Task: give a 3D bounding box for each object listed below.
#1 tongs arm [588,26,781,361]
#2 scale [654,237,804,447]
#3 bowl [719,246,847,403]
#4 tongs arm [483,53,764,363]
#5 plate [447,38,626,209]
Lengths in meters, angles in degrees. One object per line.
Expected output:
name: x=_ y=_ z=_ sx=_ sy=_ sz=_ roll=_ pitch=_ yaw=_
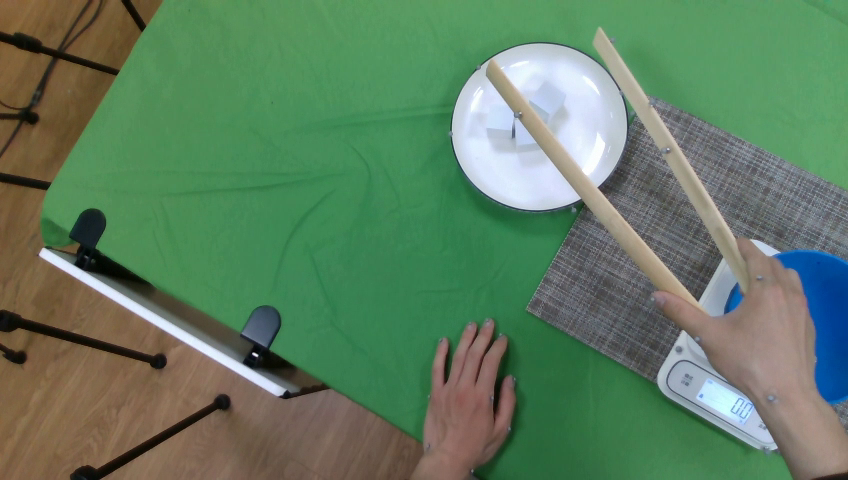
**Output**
tongs arm: x=0.236 y=-0.066 z=0.598 sx=0.051 sy=0.027 sz=0.381 roll=-16 pitch=65 yaw=-17
scale: x=0.364 y=0.110 z=0.667 sx=0.148 sy=0.032 sz=0.200 roll=30 pitch=86 yaw=10
bowl: x=0.368 y=0.085 z=0.616 sx=0.151 sy=0.077 sz=0.151 roll=-1 pitch=83 yaw=6
tongs arm: x=0.169 y=-0.043 z=0.577 sx=0.028 sy=0.028 sz=0.384 roll=-25 pitch=67 yaw=-24
plate: x=0.133 y=-0.137 z=0.728 sx=0.207 sy=0.039 sz=0.207 roll=-1 pitch=82 yaw=6
